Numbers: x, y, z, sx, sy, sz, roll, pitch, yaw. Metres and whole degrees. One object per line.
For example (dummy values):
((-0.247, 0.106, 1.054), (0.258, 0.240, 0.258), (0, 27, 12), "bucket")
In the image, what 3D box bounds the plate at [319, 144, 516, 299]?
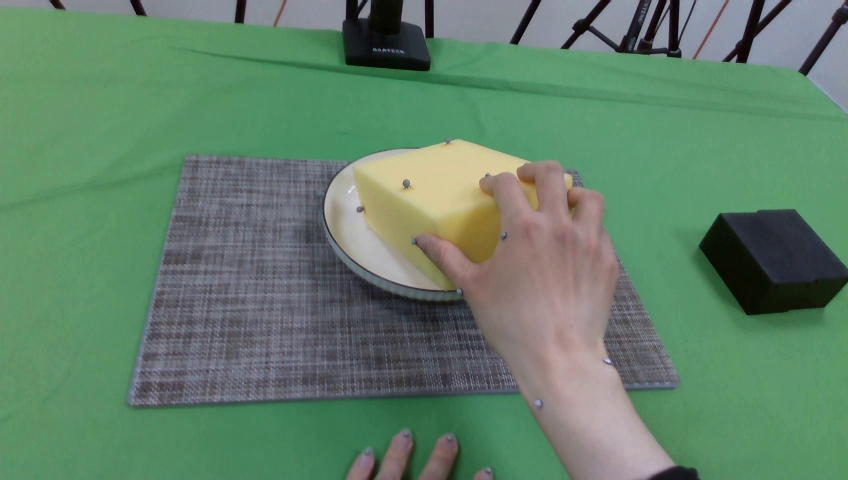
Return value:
((0.000, -0.018, 0.602), (0.208, 0.039, 0.205), (7, 44, -6), "plate")

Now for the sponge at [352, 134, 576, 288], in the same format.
((0.024, -0.037, 0.532), (0.118, 0.061, 0.205), (-17, 24, -18), "sponge")
